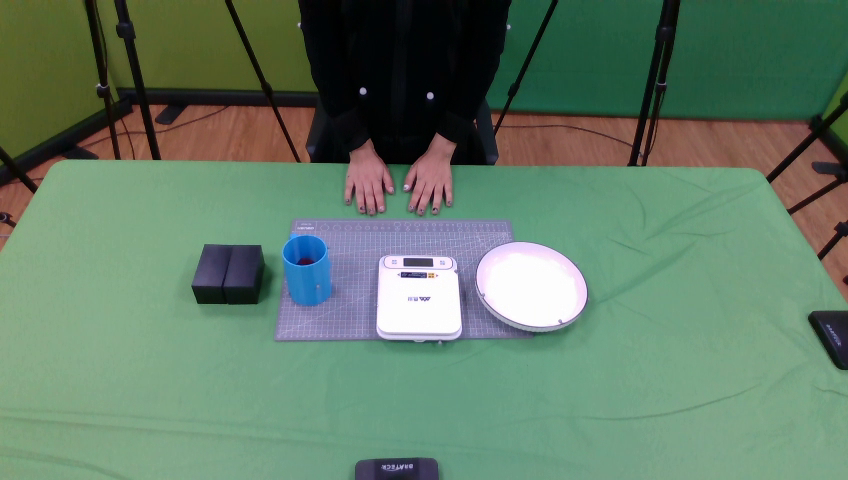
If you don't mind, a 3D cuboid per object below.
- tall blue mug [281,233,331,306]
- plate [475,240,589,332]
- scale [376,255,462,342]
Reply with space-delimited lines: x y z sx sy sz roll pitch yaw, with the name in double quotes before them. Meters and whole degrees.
"tall blue mug" -0.219 0.046 1.073 0.107 0.108 0.077 28 52 21
"plate" 0.195 0.087 1.112 0.209 0.038 0.208 3 46 -3
"scale" -0.010 0.096 1.094 0.149 0.032 0.199 2 46 -3
